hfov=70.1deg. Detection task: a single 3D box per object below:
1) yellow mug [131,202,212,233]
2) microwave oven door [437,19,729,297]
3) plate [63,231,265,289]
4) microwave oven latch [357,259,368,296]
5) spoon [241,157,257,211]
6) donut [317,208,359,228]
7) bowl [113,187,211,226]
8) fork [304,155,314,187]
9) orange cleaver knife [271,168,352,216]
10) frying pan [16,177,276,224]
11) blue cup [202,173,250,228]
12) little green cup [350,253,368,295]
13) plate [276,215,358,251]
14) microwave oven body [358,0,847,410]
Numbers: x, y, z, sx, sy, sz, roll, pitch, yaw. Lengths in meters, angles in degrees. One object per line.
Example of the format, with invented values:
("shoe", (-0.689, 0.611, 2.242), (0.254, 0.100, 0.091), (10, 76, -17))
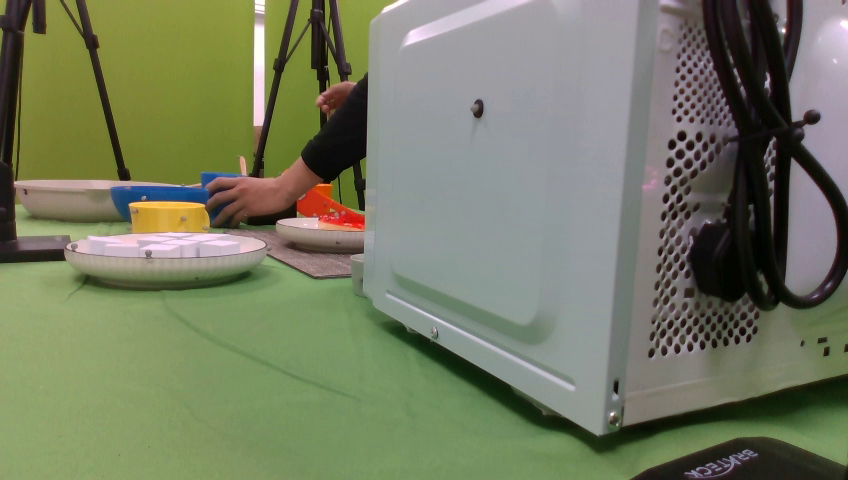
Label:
("yellow mug", (-0.356, -0.020, 0.878), (0.099, 0.064, 0.131), (5, 7, 21))
("microwave oven door", (0.180, -0.076, 0.618), (0.358, 0.243, 0.039), (-2, 8, -28))
("plate", (-0.288, 0.021, 0.687), (0.208, 0.039, 0.207), (2, 8, 0))
("microwave oven latch", (-0.019, 0.031, 0.528), (0.079, 0.029, 0.030), (-1, 7, -25))
("spoon", (-0.432, -0.140, 1.472), (0.042, 0.021, 0.193), (-1, 52, -19))
("donut", (-0.118, -0.024, 0.954), (0.099, 0.048, 0.099), (6, 7, 0))
("bowl", (-0.436, -0.046, 1.013), (0.151, 0.077, 0.151), (2, 7, 0))
("fork", (-0.268, -0.134, 1.446), (0.028, 0.018, 0.207), (1, -36, -2))
("orange cleaver knife", (-0.237, -0.084, 1.333), (0.212, 0.077, 0.012), (31, -9, -31))
("frying pan", (-0.554, -0.097, 1.266), (0.490, 0.102, 0.305), (-10, 13, -24))
("blue cup", (-0.383, -0.076, 1.165), (0.093, 0.100, 0.092), (4, 8, 0))
("little green cup", (-0.048, 0.035, 0.632), (0.061, 0.038, 0.061), (3, 6, 0))
("plate", (-0.126, -0.012, 0.950), (0.209, 0.038, 0.209), (2, 7, 0))
("microwave oven body", (0.210, -0.051, 0.471), (0.444, 0.260, 0.324), (-1, 7, -28))
